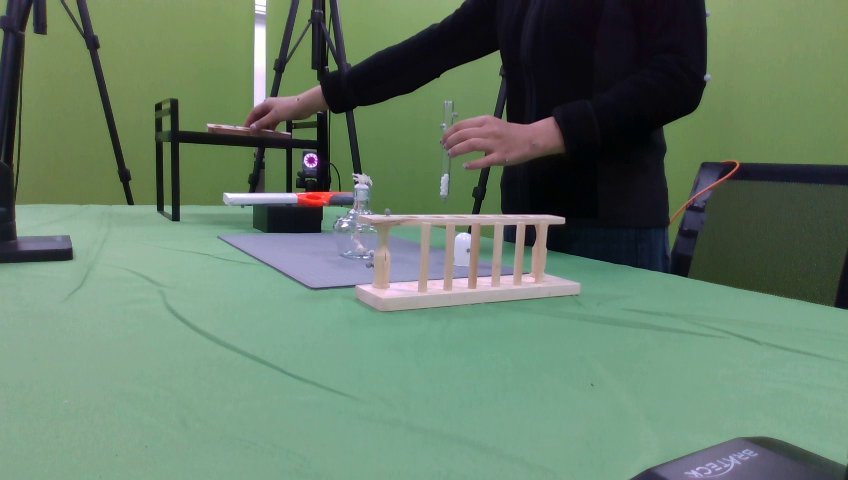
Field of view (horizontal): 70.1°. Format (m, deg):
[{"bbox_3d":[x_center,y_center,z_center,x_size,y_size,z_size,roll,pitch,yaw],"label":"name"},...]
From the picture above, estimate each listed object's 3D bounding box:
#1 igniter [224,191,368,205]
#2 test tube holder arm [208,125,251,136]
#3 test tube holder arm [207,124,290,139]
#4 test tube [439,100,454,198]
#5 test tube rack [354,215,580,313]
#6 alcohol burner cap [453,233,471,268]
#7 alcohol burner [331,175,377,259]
[{"bbox_3d":[-0.237,-0.079,1.157,0.278,0.025,0.057,-2,20,-31],"label":"igniter"},{"bbox_3d":[-0.418,-0.234,1.300,0.088,0.015,0.010,1,42,-32],"label":"test tube holder arm"},{"bbox_3d":[-0.381,-0.238,1.327,0.179,0.015,0.013,0,42,-33],"label":"test tube holder arm"},{"bbox_3d":[0.034,-0.140,0.937,0.017,0.150,0.017,3,12,0],"label":"test tube"},{"bbox_3d":[0.053,0.019,0.635,0.243,0.085,0.066,-1,8,-29],"label":"test tube rack"},{"bbox_3d":[0.053,0.014,0.823,0.034,0.048,0.034,3,6,0],"label":"alcohol burner cap"},{"bbox_3d":[-0.091,-0.033,0.855,0.078,0.119,0.078,4,7,0],"label":"alcohol burner"}]
